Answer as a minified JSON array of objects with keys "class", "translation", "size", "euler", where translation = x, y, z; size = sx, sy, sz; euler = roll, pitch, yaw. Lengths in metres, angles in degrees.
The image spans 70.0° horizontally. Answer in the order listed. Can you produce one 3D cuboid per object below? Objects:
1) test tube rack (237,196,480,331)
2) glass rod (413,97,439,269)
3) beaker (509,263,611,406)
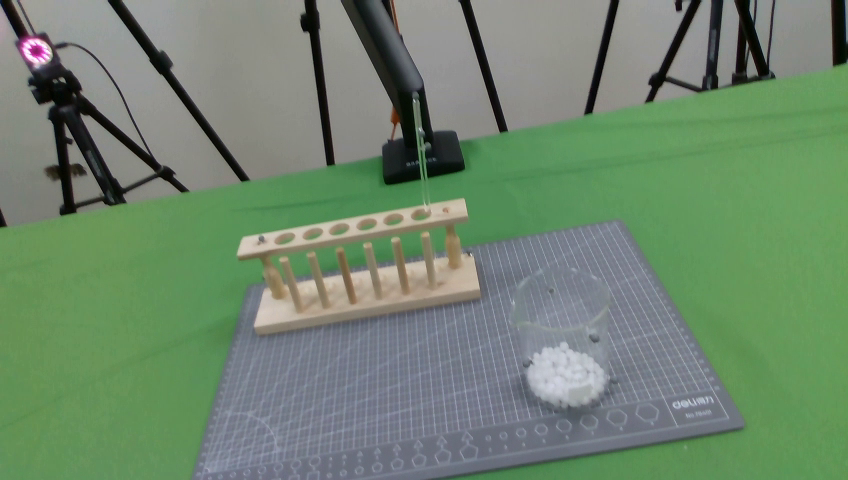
[{"class":"test tube rack","translation":[-0.068,0.026,0.644],"size":[0.242,0.086,0.066],"euler":[-10,35,3]},{"class":"glass rod","translation":[0.004,-0.049,0.612],"size":[0.008,0.201,0.008],"euler":[-5,36,4]},{"class":"beaker","translation":[0.112,0.082,0.499],"size":[0.084,0.101,0.073],"euler":[-21,35,-12]}]
